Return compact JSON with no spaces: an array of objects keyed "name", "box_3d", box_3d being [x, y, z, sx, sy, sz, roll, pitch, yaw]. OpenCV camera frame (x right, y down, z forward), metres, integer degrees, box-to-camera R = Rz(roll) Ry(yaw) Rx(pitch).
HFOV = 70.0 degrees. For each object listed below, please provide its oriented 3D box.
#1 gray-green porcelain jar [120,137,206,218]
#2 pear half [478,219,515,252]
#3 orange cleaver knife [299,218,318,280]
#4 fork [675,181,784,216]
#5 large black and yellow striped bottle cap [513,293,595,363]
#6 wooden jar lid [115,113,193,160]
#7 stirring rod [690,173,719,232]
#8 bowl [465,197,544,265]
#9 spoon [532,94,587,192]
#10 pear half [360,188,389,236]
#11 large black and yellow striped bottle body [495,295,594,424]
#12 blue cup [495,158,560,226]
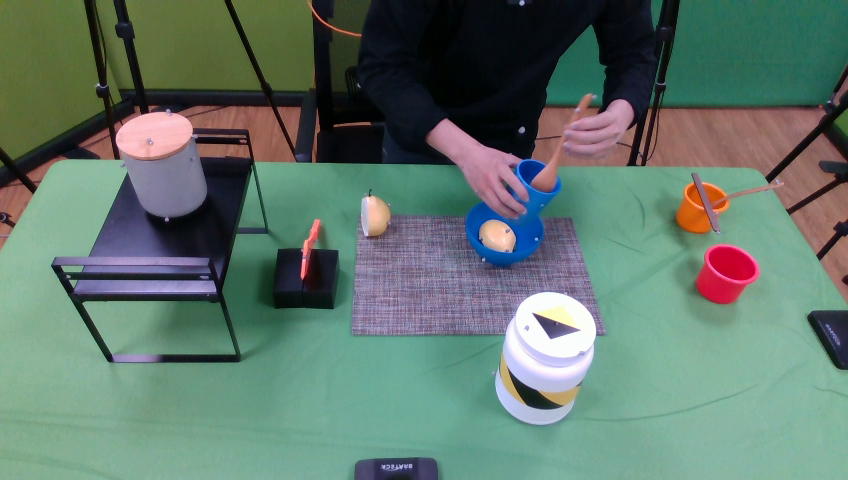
[{"name":"gray-green porcelain jar","box_3d":[-0.403,-0.106,0.946,0.106,0.127,0.105,3,46,-2]},{"name":"pear half","box_3d":[0.143,-0.011,1.163,0.070,0.031,0.087,-17,55,-15]},{"name":"orange cleaver knife","box_3d":[-0.214,0.013,1.125,0.012,0.077,0.210,6,17,-5]},{"name":"fork","box_3d":[0.617,-0.084,1.235,0.207,0.019,0.028,-22,21,38]},{"name":"large black and yellow striped bottle cap","box_3d":[0.186,0.123,0.863,0.115,0.019,0.114,3,45,-3]},{"name":"wooden jar lid","box_3d":[-0.399,-0.151,0.900,0.108,0.021,0.107,3,46,-3]},{"name":"stirring rod","box_3d":[0.566,-0.080,1.225,0.014,0.006,0.175,2,46,2]},{"name":"bowl","box_3d":[0.149,-0.004,1.167,0.151,0.077,0.150,2,46,-2]},{"name":"spoon","box_3d":[0.218,-0.151,0.990,0.042,0.194,0.021,16,30,-7]},{"name":"pear half","box_3d":[-0.096,-0.060,1.181,0.056,0.110,0.076,-13,52,-17]},{"name":"large black and yellow striped bottle body","box_3d":[0.183,0.182,0.923,0.131,0.185,0.130,2,46,-2]},{"name":"blue cup","box_3d":[0.174,-0.078,1.062,0.093,0.100,0.092,17,43,-16]}]
